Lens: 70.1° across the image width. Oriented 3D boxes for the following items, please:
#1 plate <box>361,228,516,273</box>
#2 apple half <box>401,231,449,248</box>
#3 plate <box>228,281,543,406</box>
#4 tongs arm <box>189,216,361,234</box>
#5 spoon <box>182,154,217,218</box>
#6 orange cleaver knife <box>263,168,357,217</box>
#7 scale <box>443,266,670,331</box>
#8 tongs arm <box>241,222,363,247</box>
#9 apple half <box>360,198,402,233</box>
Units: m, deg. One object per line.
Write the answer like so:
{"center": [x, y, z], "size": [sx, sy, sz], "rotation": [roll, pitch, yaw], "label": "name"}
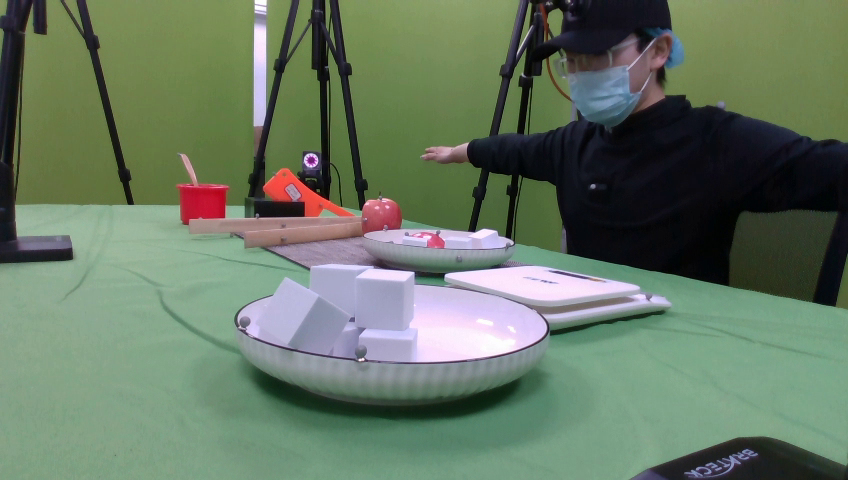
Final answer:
{"center": [0.018, 0.013, 0.818], "size": [0.209, 0.038, 0.209], "rotation": [2, 7, 0], "label": "plate"}
{"center": [0.003, 0.005, 0.843], "size": [0.081, 0.033, 0.081], "rotation": [1, 4, 0], "label": "apple half"}
{"center": [-0.025, 0.067, 0.413], "size": [0.208, 0.039, 0.207], "rotation": [3, 7, 0], "label": "plate"}
{"center": [-0.220, -0.028, 1.088], "size": [0.387, 0.026, 0.050], "rotation": [-3, 8, -43], "label": "tongs arm"}
{"center": [-0.455, -0.107, 1.212], "size": [0.042, 0.021, 0.193], "rotation": [-6, 55, -35], "label": "spoon"}
{"center": [-0.241, -0.078, 1.296], "size": [0.212, 0.077, 0.012], "rotation": [32, -11, -26], "label": "orange cleaver knife"}
{"center": [0.131, 0.052, 0.603], "size": [0.202, 0.031, 0.148], "rotation": [-3, 9, -37], "label": "scale"}
{"center": [-0.159, -0.016, 1.034], "size": [0.028, 0.028, 0.389], "rotation": [2, 6, 33], "label": "tongs arm"}
{"center": [-0.066, -0.032, 1.014], "size": [0.053, 0.074, 0.081], "rotation": [9, 6, 21], "label": "apple half"}
